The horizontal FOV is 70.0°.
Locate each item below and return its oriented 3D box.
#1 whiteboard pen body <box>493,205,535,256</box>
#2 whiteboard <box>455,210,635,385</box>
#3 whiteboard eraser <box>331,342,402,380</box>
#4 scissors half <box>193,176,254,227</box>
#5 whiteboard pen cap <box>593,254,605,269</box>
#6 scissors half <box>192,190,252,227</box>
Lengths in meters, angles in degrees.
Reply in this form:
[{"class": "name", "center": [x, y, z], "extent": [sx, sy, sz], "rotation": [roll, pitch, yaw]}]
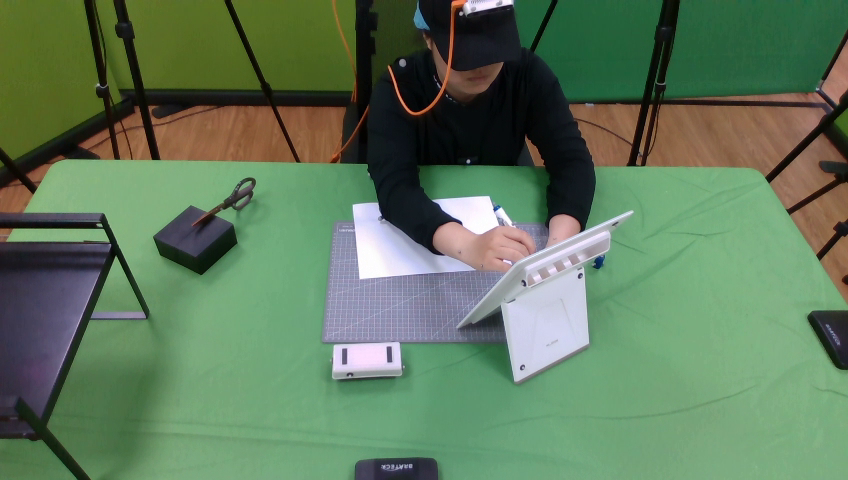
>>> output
[{"class": "whiteboard pen body", "center": [0.161, 0.000, 1.013], "extent": [0.017, 0.017, 0.141], "rotation": [-39, 93, -33]}, {"class": "whiteboard", "center": [0.211, 0.111, 0.955], "extent": [0.217, 0.306, 0.143], "rotation": [-21, 71, -23]}, {"class": "whiteboard eraser", "center": [-0.094, 0.198, 0.986], "extent": [0.113, 0.042, 0.055], "rotation": [-2, 44, -6]}, {"class": "scissors half", "center": [-0.388, -0.075, 1.174], "extent": [0.013, 0.040, 0.174], "rotation": [29, 47, 8]}, {"class": "whiteboard pen cap", "center": [0.340, 0.041, 1.179], "extent": [0.018, 0.033, 0.018], "rotation": [2, 46, -1]}, {"class": "scissors half", "center": [-0.393, -0.060, 1.187], "extent": [0.013, 0.040, 0.175], "rotation": [25, 29, 12]}]
